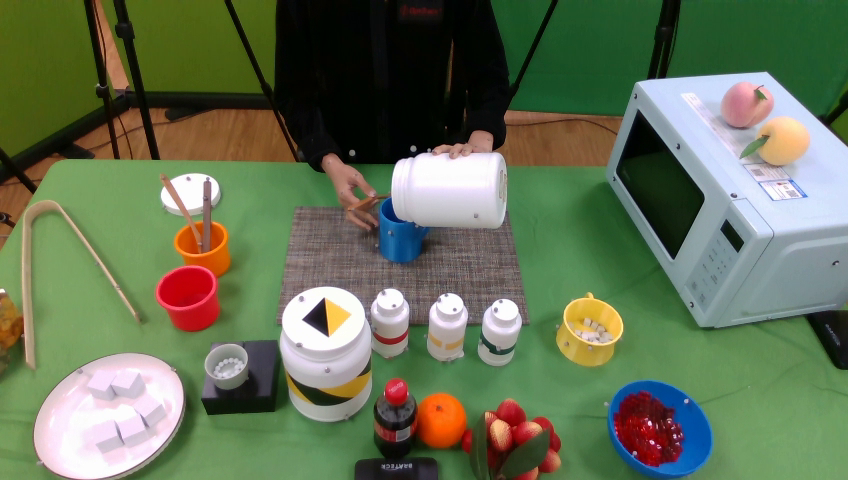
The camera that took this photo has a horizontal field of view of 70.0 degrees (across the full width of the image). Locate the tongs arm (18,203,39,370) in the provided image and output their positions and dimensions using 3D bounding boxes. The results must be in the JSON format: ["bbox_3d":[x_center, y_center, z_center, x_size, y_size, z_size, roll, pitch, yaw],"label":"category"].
[{"bbox_3d":[-0.698,0.069,1.069,0.028,0.028,0.385,-20,50,-13],"label":"tongs arm"}]

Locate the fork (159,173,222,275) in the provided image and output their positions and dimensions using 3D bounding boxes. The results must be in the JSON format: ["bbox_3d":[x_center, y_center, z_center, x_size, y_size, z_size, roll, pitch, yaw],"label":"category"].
[{"bbox_3d":[-0.427,-0.029,1.103,0.028,0.018,0.207,-31,99,-30],"label":"fork"}]

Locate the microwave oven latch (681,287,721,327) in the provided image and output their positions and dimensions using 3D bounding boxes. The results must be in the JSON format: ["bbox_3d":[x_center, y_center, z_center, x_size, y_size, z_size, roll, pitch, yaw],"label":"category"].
[{"bbox_3d":[0.494,0.119,1.087,0.030,0.029,0.078,-5,46,-9],"label":"microwave oven latch"}]

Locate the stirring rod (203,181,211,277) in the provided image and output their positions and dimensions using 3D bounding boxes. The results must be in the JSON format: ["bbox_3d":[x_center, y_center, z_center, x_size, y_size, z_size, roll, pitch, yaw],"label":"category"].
[{"bbox_3d":[-0.396,-0.021,1.107,0.014,0.006,0.176,-1,89,-1],"label":"stirring rod"}]

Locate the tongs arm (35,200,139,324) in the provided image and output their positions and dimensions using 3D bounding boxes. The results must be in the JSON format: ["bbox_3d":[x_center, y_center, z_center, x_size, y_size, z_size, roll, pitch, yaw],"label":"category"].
[{"bbox_3d":[-0.622,0.034,1.105,0.051,0.026,0.382,-32,55,-25],"label":"tongs arm"}]

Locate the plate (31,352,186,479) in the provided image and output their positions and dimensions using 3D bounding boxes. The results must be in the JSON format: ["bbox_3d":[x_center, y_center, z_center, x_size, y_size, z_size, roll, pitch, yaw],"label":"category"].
[{"bbox_3d":[-0.459,0.262,0.898,0.209,0.038,0.208,2,46,-2],"label":"plate"}]

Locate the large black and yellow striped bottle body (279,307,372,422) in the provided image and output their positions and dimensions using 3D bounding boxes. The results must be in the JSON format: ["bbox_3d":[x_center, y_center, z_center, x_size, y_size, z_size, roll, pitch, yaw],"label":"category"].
[{"bbox_3d":[-0.145,0.173,0.907,0.131,0.185,0.130,2,46,-2],"label":"large black and yellow striped bottle body"}]

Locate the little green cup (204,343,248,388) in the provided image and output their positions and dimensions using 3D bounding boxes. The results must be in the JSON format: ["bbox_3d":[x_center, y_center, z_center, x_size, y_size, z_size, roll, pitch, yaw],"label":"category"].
[{"bbox_3d":[-0.294,0.190,0.909,0.061,0.039,0.061,1,48,-1],"label":"little green cup"}]

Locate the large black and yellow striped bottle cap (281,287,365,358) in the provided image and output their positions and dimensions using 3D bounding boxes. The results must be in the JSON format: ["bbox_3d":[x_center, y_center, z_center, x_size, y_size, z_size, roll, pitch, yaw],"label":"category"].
[{"bbox_3d":[-0.141,0.112,0.847,0.115,0.019,0.114,5,45,-4],"label":"large black and yellow striped bottle cap"}]

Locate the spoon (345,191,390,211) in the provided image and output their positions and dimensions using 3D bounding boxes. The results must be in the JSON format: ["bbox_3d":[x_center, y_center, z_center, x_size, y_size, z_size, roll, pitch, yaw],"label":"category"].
[{"bbox_3d":[-0.090,-0.080,1.159,0.041,0.022,0.194,15,19,29],"label":"spoon"}]

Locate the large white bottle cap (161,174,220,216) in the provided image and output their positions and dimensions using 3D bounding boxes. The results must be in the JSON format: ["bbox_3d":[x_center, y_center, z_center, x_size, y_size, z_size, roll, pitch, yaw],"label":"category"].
[{"bbox_3d":[-0.483,-0.095,1.253,0.115,0.018,0.114,2,46,-2],"label":"large white bottle cap"}]

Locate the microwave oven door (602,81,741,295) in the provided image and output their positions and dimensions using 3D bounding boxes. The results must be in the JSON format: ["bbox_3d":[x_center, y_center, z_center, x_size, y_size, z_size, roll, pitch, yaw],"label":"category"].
[{"bbox_3d":[0.456,-0.107,1.162,0.039,0.245,0.353,-6,47,-11],"label":"microwave oven door"}]

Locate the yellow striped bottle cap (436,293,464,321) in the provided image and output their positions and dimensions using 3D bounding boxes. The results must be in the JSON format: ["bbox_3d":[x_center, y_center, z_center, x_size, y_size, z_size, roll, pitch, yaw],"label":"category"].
[{"bbox_3d":[0.041,0.105,0.959,0.044,0.019,0.044,-1,51,2],"label":"yellow striped bottle cap"}]

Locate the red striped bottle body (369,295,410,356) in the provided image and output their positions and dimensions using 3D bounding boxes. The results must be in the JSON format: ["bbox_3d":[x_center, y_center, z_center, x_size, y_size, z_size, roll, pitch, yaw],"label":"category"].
[{"bbox_3d":[-0.059,0.135,0.997,0.063,0.120,0.062,6,49,-7],"label":"red striped bottle body"}]

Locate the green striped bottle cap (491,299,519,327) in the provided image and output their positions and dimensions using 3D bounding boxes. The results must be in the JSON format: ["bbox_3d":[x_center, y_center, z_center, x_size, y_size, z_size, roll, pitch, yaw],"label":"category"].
[{"bbox_3d":[0.128,0.115,0.958,0.044,0.020,0.044,1,47,-1],"label":"green striped bottle cap"}]

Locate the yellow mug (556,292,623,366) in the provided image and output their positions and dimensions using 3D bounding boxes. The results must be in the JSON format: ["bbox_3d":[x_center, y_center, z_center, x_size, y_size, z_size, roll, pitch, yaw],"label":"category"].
[{"bbox_3d":[0.285,0.145,1.051,0.100,0.064,0.130,7,45,3],"label":"yellow mug"}]

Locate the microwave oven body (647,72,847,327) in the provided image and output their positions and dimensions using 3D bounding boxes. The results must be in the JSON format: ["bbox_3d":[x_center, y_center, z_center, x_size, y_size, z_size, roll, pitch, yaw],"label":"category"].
[{"bbox_3d":[0.607,-0.089,1.164,0.326,0.261,0.438,-7,46,-10],"label":"microwave oven body"}]

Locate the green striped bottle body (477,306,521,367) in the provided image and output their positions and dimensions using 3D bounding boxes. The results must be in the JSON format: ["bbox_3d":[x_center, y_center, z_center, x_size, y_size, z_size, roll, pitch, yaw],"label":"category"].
[{"bbox_3d":[0.124,0.151,0.995,0.063,0.120,0.063,2,46,-2],"label":"green striped bottle body"}]

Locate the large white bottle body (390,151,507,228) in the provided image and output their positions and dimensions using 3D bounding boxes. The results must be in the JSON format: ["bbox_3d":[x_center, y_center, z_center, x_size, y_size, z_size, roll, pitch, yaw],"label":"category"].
[{"bbox_3d":[0.044,-0.088,1.055,0.184,0.131,0.130,2,44,16],"label":"large white bottle body"}]

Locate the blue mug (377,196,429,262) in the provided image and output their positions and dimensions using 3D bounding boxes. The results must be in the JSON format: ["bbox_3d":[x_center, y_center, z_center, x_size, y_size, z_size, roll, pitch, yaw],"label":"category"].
[{"bbox_3d":[-0.034,-0.028,1.159,0.116,0.106,0.082,-23,53,-24],"label":"blue mug"}]

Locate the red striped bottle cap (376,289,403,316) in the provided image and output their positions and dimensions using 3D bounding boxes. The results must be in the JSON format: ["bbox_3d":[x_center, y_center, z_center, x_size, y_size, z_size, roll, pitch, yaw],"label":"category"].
[{"bbox_3d":[-0.054,0.098,0.958,0.044,0.018,0.044,0,48,1],"label":"red striped bottle cap"}]

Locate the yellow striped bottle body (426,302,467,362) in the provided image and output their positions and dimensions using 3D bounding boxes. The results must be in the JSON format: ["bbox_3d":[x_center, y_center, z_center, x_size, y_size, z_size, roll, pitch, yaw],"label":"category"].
[{"bbox_3d":[0.037,0.142,0.996,0.063,0.121,0.062,2,46,-2],"label":"yellow striped bottle body"}]

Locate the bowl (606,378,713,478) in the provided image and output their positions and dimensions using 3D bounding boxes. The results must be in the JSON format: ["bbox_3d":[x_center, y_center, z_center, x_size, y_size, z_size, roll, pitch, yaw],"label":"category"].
[{"bbox_3d":[0.340,0.292,0.906,0.151,0.077,0.150,2,46,-2],"label":"bowl"}]
